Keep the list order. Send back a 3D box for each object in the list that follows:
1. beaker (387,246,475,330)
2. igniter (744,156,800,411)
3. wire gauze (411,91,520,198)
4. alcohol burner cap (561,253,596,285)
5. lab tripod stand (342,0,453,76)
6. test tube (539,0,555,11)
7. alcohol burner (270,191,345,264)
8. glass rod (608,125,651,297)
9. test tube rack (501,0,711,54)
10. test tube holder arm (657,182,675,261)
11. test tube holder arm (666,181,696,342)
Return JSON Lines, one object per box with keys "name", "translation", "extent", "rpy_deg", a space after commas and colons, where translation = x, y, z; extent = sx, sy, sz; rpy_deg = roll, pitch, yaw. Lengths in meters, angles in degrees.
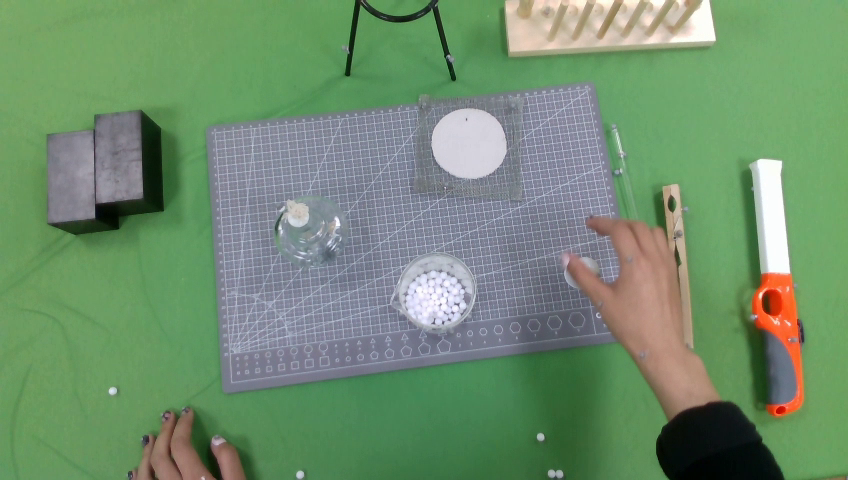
{"name": "beaker", "translation": [0.007, 0.054, 0.611], "extent": [0.084, 0.100, 0.073], "rpy_deg": [-15, 78, -3]}
{"name": "igniter", "translation": [0.375, 0.043, 0.657], "extent": [0.057, 0.025, 0.275], "rpy_deg": [3, 79, -10]}
{"name": "wire gauze", "translation": [0.049, -0.112, 0.691], "extent": [0.125, 0.011, 0.121], "rpy_deg": [4, 80, -1]}
{"name": "alcohol burner cap", "translation": [0.167, 0.029, 0.647], "extent": [0.034, 0.048, 0.033], "rpy_deg": [0, 79, 0]}
{"name": "lab tripod stand", "translation": [-0.029, -0.242, 0.654], "extent": [0.148, 0.132, 0.148], "rpy_deg": [0, 81, 0]}
{"name": "test tube", "translation": [0.146, -0.288, 0.639], "extent": [0.017, 0.150, 0.017], "rpy_deg": [1, 79, -3]}
{"name": "alcohol burner", "translation": [-0.122, -0.017, 0.616], "extent": [0.078, 0.119, 0.077], "rpy_deg": [0, 78, 2]}
{"name": "glass rod", "translation": [0.231, -0.035, 0.680], "extent": [0.008, 0.008, 0.199], "rpy_deg": [-10, 82, -3]}
{"name": "test tube rack", "translation": [0.215, -0.268, 0.686], "extent": [0.242, 0.085, 0.066], "rpy_deg": [-3, 78, -1]}
{"name": "test tube holder arm", "translation": [0.272, -0.021, 0.674], "extent": [0.010, 0.015, 0.087], "rpy_deg": [-12, 77, 35]}
{"name": "test tube holder arm", "translation": [0.280, 0.022, 0.662], "extent": [0.013, 0.015, 0.177], "rpy_deg": [-13, 76, 35]}
